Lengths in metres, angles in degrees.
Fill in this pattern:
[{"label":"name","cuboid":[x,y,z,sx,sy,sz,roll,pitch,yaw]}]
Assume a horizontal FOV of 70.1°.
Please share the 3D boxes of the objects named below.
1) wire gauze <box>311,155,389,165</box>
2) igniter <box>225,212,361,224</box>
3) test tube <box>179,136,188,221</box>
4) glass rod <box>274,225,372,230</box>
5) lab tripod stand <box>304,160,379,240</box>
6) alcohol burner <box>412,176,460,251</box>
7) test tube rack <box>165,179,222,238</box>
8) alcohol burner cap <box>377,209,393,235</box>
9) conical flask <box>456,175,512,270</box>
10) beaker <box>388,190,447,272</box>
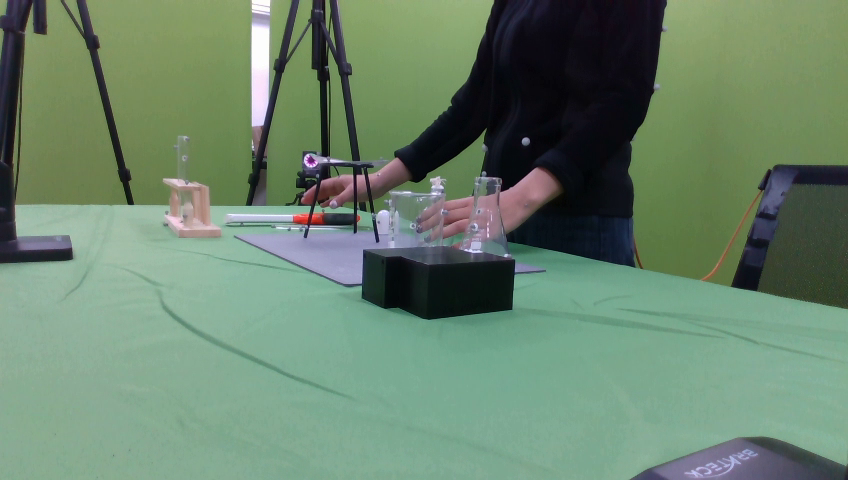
[{"label":"wire gauze","cuboid":[-0.128,-0.137,1.042,0.122,0.011,0.124,1,8,-18]},{"label":"igniter","cuboid":[-0.262,-0.044,1.240,0.278,0.025,0.057,-2,-1,-31]},{"label":"test tube","cuboid":[-0.425,-0.108,1.070,0.017,0.150,0.017,4,9,0]},{"label":"glass rod","cuboid":[-0.193,-0.024,1.176,0.201,0.008,0.008,1,7,-31]},{"label":"lab tripod stand","cuboid":[-0.131,-0.071,1.046,0.148,0.131,0.148,4,7,0]},{"label":"alcohol burner","cuboid":[0.020,-0.043,0.959,0.078,0.119,0.078,4,9,0]},{"label":"test tube rack","cuboid":[-0.423,-0.062,1.098,0.067,0.085,0.241,-2,9,-28]},{"label":"alcohol burner cap","cuboid":[-0.076,-0.035,1.145,0.034,0.048,0.034,1,7,0]},{"label":"conical flask","cuboid":[0.082,-0.025,0.801,0.075,0.122,0.075,2,7,0]},{"label":"beaker","cuboid":[-0.010,-0.013,0.771,0.074,0.100,0.084,3,7,4]}]
